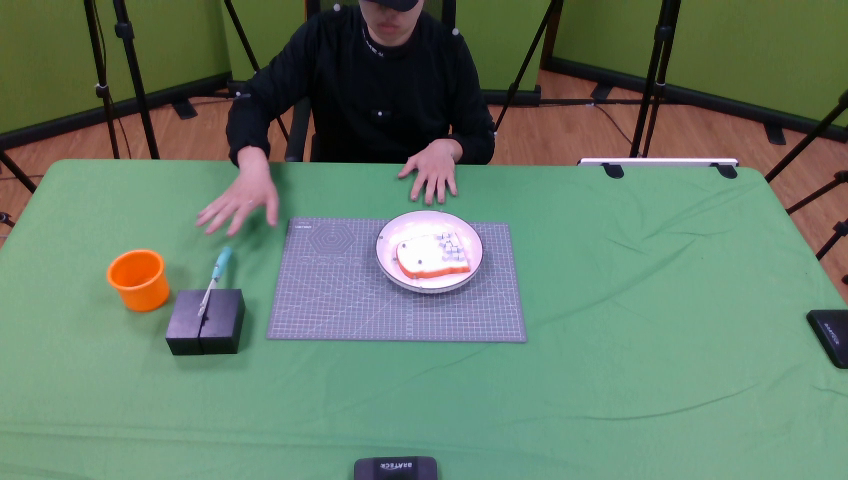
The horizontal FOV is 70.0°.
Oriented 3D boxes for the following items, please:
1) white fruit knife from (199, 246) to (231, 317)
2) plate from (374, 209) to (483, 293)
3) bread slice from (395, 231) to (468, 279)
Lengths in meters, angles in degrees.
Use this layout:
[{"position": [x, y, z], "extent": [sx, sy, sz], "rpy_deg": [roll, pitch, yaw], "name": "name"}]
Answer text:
[{"position": [-0.367, 0.069, 1.063], "extent": [0.016, 0.027, 0.206], "rpy_deg": [-1, 32, -4], "name": "white fruit knife"}, {"position": [0.009, 0.024, 1.160], "extent": [0.209, 0.038, 0.208], "rpy_deg": [2, 46, -2], "name": "plate"}, {"position": [0.011, 0.030, 1.158], "extent": [0.132, 0.019, 0.104], "rpy_deg": [-8, 47, -14], "name": "bread slice"}]
